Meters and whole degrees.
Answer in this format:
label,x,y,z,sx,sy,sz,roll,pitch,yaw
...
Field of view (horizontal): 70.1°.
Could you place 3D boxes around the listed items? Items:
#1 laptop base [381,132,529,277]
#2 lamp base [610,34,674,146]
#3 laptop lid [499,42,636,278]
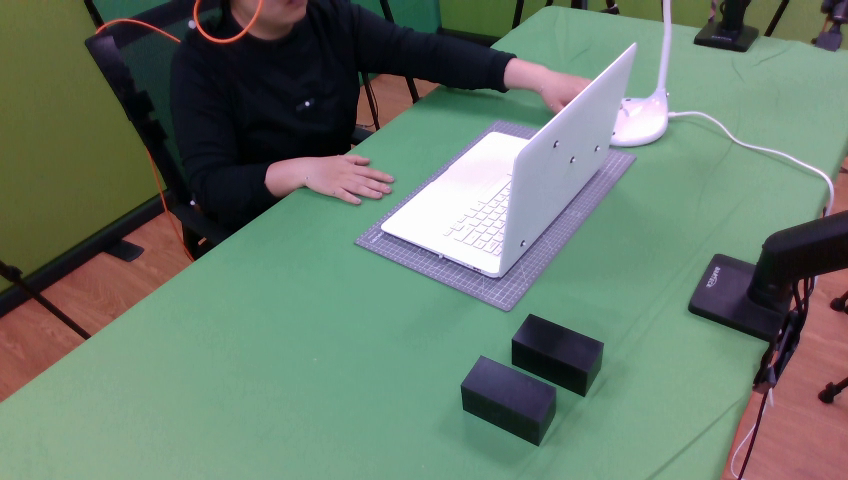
label,x,y,z,sx,sy,sz,roll,pitch,yaw
laptop base,0.122,-0.077,1.043,0.233,0.023,0.355,20,47,33
lamp base,0.393,-0.291,1.129,0.180,0.181,0.159,-11,41,-8
laptop lid,0.217,-0.122,0.898,0.013,0.242,0.358,28,50,25
